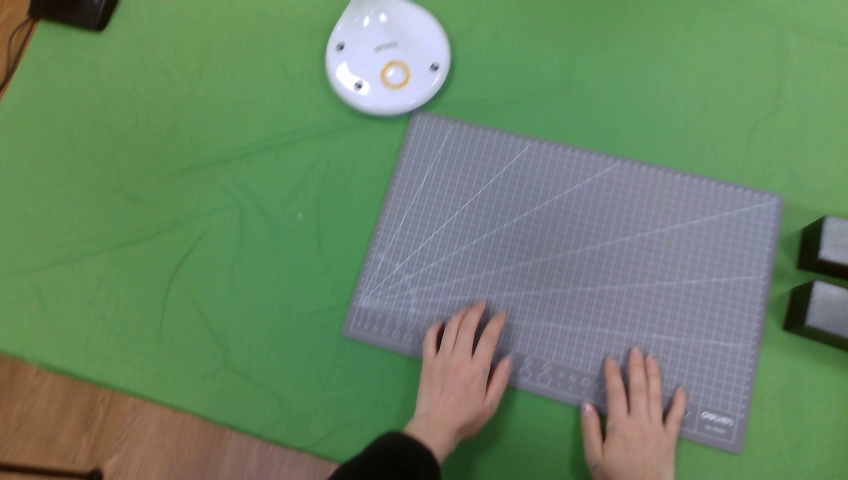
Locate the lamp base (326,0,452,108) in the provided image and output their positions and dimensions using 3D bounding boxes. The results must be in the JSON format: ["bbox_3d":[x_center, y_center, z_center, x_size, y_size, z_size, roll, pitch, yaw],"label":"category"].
[{"bbox_3d":[-0.057,-0.272,0.699,0.160,0.181,0.178,-25,73,-3],"label":"lamp base"}]
